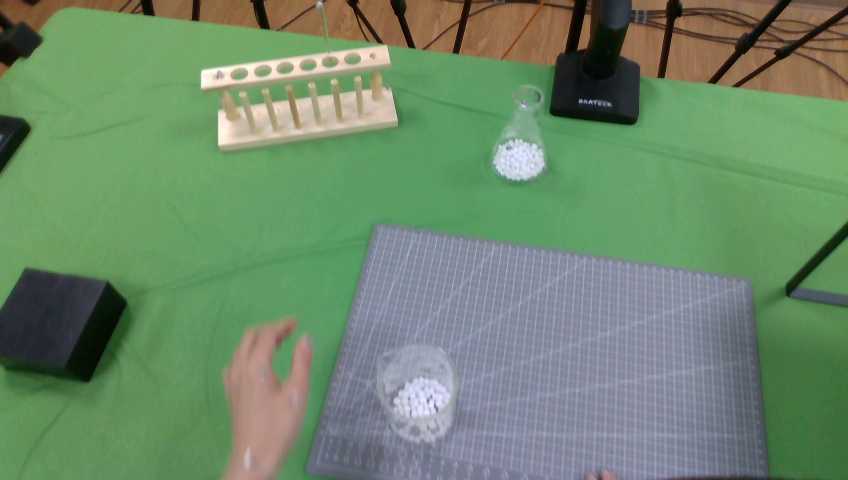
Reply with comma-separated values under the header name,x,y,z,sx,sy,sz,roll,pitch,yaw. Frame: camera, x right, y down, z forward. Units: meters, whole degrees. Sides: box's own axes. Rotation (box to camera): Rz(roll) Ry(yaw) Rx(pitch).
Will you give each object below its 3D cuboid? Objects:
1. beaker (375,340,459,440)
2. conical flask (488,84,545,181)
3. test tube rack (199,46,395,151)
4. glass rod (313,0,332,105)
name,x,y,z,sx,sy,sz,roll,pitch,yaw
beaker,-0.008,0.149,0.592,0.083,0.101,0.073,27,62,17
conical flask,0.120,-0.136,0.753,0.075,0.123,0.074,-1,58,1
test tube rack,-0.165,-0.189,0.812,0.242,0.086,0.066,-9,59,-5
glass rod,-0.129,-0.253,0.772,0.008,0.201,0.008,-1,50,1
